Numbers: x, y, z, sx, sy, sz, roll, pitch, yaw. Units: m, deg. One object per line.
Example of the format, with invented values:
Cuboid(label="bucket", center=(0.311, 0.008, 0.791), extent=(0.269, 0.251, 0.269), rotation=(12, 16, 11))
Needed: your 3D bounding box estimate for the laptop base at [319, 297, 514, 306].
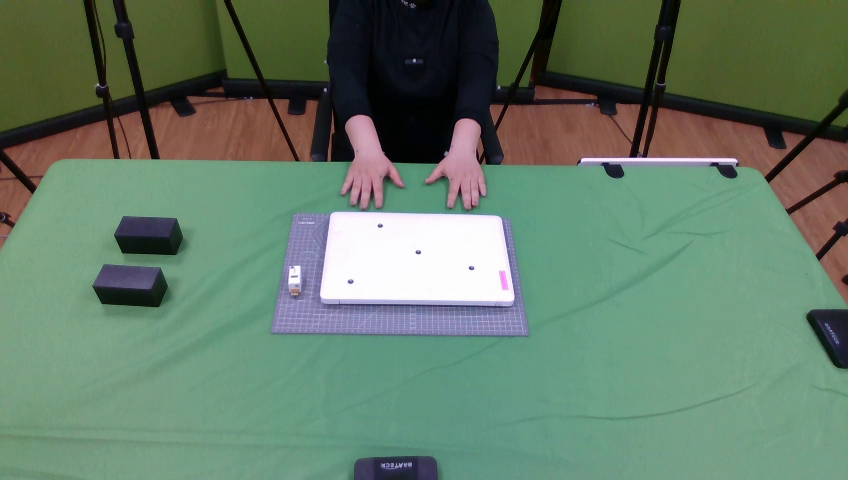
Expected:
Cuboid(label="laptop base", center=(-0.015, 0.037, 1.162), extent=(0.354, 0.023, 0.234), rotation=(1, 42, -3))

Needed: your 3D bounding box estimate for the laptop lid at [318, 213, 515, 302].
Cuboid(label="laptop lid", center=(-0.014, 0.027, 1.156), extent=(0.357, 0.013, 0.240), rotation=(2, 43, -2))

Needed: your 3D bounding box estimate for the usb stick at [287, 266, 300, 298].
Cuboid(label="usb stick", center=(-0.237, 0.077, 1.097), extent=(0.021, 0.027, 0.059), rotation=(-2, 49, -7))
